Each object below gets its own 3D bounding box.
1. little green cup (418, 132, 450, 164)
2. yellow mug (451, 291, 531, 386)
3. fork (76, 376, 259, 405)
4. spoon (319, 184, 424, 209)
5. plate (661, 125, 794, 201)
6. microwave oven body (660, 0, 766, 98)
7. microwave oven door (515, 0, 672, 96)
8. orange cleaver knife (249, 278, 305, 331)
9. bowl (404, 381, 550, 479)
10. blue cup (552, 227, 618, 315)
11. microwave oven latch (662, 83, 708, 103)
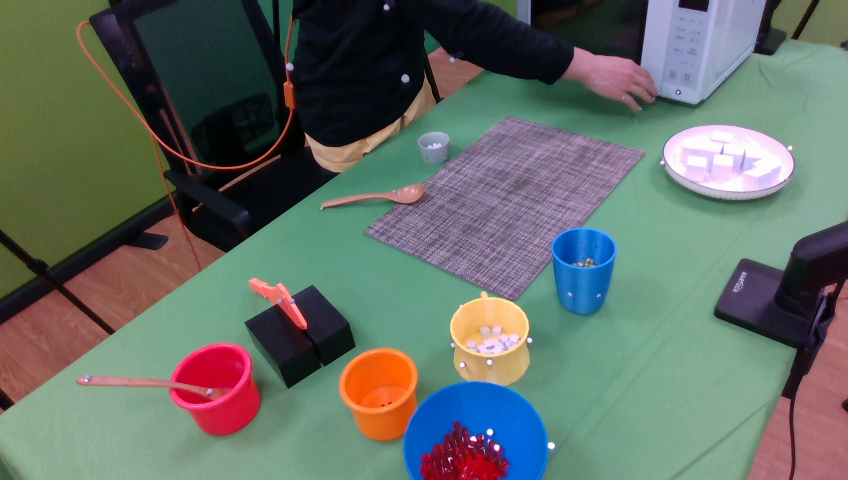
[{"bbox_3d":[0.020,-0.177,1.168,0.061,0.039,0.061,-3,41,3],"label":"little green cup"},{"bbox_3d":[0.085,0.120,0.786,0.100,0.064,0.130,-7,39,1],"label":"yellow mug"},{"bbox_3d":[-0.295,0.176,0.716,0.209,0.018,0.028,19,27,-37],"label":"fork"},{"bbox_3d":[-0.094,-0.075,1.074,0.193,0.022,0.041,-5,56,5],"label":"spoon"},{"bbox_3d":[0.513,-0.128,1.035,0.207,0.039,0.206,-4,40,4],"label":"plate"},{"bbox_3d":[0.472,-0.513,1.317,0.438,0.261,0.327,26,51,34],"label":"microwave oven body"},{"bbox_3d":[0.344,-0.455,1.260,0.353,0.245,0.039,26,51,33],"label":"microwave oven door"},{"bbox_3d":[-0.210,0.088,0.856,0.012,0.077,0.210,-28,15,-25],"label":"orange cleaver knife"},{"bbox_3d":[0.058,0.235,0.645,0.151,0.077,0.150,-4,39,4],"label":"bowl"},{"bbox_3d":[0.218,0.047,0.825,0.092,0.100,0.092,-6,39,5],"label":"blue cup"},{"bbox_3d":[0.518,-0.297,1.204,0.030,0.029,0.078,-37,47,-29],"label":"microwave oven latch"}]
